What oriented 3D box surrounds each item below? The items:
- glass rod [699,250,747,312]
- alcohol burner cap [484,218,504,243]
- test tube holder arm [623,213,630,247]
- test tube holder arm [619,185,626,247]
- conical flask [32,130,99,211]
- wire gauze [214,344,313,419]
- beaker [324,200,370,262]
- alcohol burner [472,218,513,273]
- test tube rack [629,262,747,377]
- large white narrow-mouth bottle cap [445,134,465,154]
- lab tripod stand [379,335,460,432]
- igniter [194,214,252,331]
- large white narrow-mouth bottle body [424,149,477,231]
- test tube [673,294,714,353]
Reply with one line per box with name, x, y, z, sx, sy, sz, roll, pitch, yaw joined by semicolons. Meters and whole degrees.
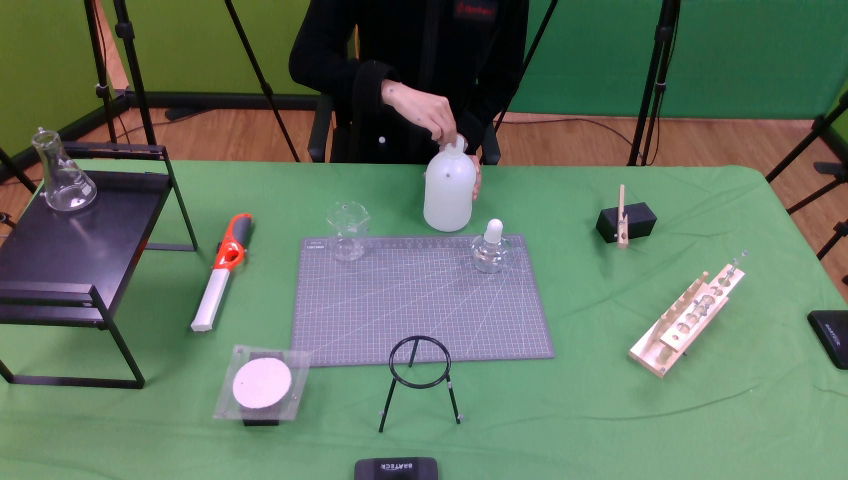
glass rod;0.500;0.075;1.021;0.008;0.201;0.008;0;55;0
alcohol burner cap;0.130;-0.021;1.106;0.034;0.048;0.033;3;50;-4
test tube holder arm;0.393;-0.020;1.179;0.010;0.015;0.087;13;46;2
test tube holder arm;0.397;-0.052;1.210;0.013;0.015;0.177;14;46;3
conical flask;-0.565;-0.110;0.944;0.075;0.122;0.075;2;46;-2
wire gauze;-0.241;0.213;0.916;0.121;0.011;0.124;5;46;1
beaker;-0.143;-0.015;1.142;0.084;0.101;0.073;1;46;-4
alcohol burner;0.128;0.005;1.132;0.078;0.120;0.077;0;47;0
test tube rack;0.464;0.126;1.061;0.242;0.085;0.066;-34;56;-30
large white narrow-mouth bottle cap;0.058;-0.178;1.124;0.038;0.024;0.037;2;46;-2
lab tripod stand;-0.011;0.214;0.911;0.148;0.132;0.147;1;45;0
igniter;-0.367;0.050;1.119;0.057;0.025;0.275;-3;46;7
large white narrow-mouth bottle body;0.054;-0.115;1.191;0.102;0.195;0.101;2;46;-2
test tube;0.428;0.137;0.978;0.017;0.151;0.017;4;47;-4
